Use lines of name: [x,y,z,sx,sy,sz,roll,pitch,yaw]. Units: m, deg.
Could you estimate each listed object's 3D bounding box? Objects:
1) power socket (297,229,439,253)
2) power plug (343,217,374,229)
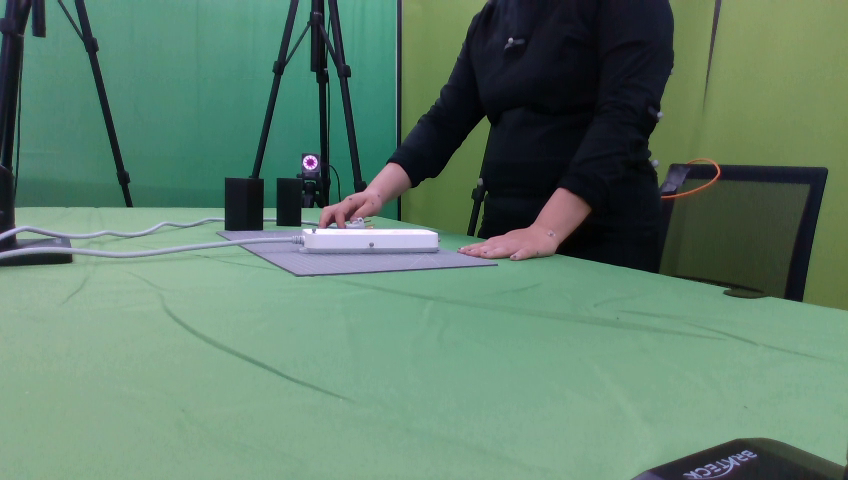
power socket: [-0.084,0.001,0.941,0.228,0.032,0.072,0,7,-20]
power plug: [-0.124,-0.029,1.133,0.053,0.035,0.072,-11,19,-14]
